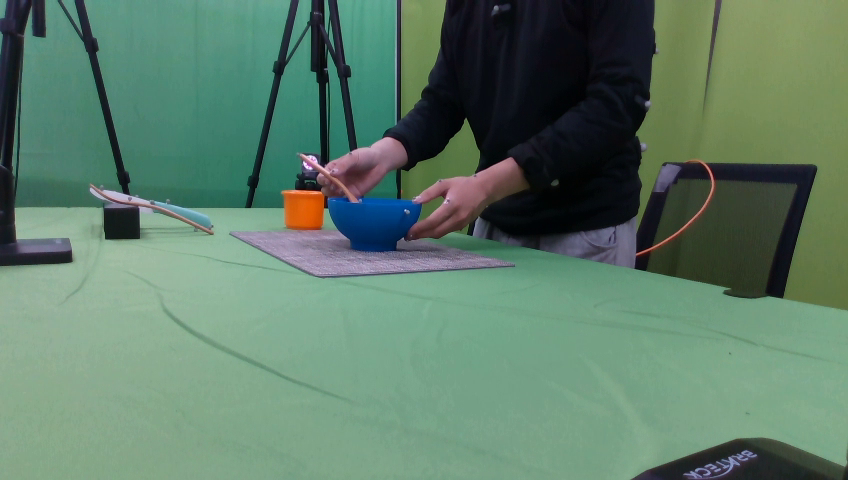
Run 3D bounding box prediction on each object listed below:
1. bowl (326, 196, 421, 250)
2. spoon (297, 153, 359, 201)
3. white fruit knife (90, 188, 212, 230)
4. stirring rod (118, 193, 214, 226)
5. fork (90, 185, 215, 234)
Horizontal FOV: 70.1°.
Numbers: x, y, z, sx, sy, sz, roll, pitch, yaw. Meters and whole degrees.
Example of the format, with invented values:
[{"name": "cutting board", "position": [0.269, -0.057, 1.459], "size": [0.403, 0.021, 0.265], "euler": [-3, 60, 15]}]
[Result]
[{"name": "bowl", "position": [-0.081, -0.027, 0.958], "size": [0.151, 0.077, 0.151], "euler": [2, 7, 0]}, {"name": "spoon", "position": [-0.140, -0.089, 1.001], "size": [0.193, 0.021, 0.042], "euler": [42, 22, 15]}, {"name": "white fruit knife", "position": [-0.478, -0.058, 1.073], "size": [0.208, 0.027, 0.016], "euler": [17, -4, -30]}, {"name": "stirring rod", "position": [-0.484, -0.057, 1.143], "size": [0.177, 0.006, 0.014], "euler": [21, -4, -29]}, {"name": "fork", "position": [-0.452, -0.049, 1.018], "size": [0.208, 0.018, 0.028], "euler": [21, -7, -33]}]
